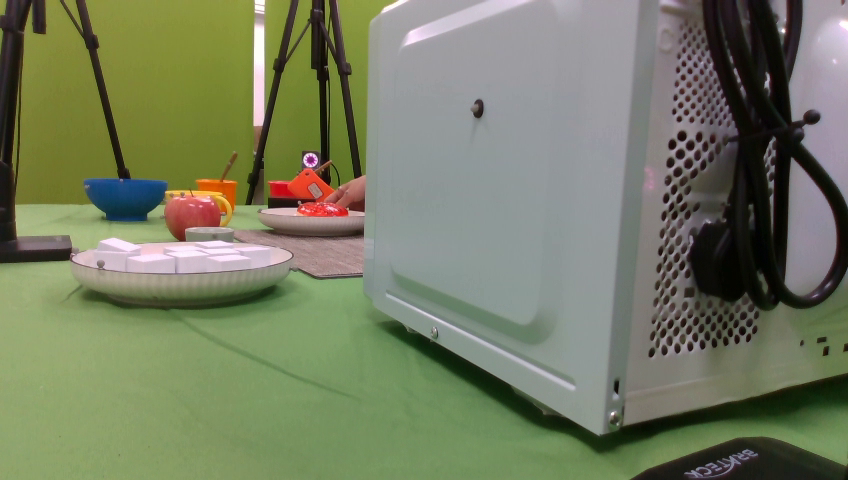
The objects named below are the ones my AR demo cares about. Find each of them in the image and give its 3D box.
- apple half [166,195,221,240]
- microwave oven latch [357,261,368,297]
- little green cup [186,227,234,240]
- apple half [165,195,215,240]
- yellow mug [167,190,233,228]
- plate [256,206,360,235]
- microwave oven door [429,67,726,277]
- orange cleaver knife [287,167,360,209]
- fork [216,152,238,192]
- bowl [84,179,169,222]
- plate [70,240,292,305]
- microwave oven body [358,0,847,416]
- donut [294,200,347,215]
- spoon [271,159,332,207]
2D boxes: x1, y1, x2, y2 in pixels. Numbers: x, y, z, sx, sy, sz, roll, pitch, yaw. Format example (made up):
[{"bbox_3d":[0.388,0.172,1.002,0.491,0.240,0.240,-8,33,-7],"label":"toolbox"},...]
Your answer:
[{"bbox_3d":[-0.351,-0.031,0.935,0.081,0.074,0.053,1,11,-40],"label":"apple half"},{"bbox_3d":[-0.019,0.033,0.531,0.079,0.029,0.030,-1,7,-27],"label":"microwave oven latch"},{"bbox_3d":[-0.284,0.005,0.805,0.061,0.038,0.061,2,8,0],"label":"little green cup"},{"bbox_3d":[-0.377,-0.038,0.964,0.082,0.081,0.032,-4,15,-39],"label":"apple half"},{"bbox_3d":[-0.415,-0.057,1.132,0.130,0.064,0.100,6,8,16],"label":"yellow mug"},{"bbox_3d":[-0.202,-0.037,1.120,0.209,0.038,0.209,2,7,0],"label":"plate"},{"bbox_3d":[0.178,-0.092,0.770,0.354,0.243,0.039,5,8,23],"label":"microwave oven door"},{"bbox_3d":[-0.209,-0.089,1.383,0.212,0.077,0.012,31,4,-15],"label":"orange cleaver knife"},{"bbox_3d":[-0.455,-0.132,1.366,0.028,0.018,0.207,-2,-35,-37],"label":"fork"},{"bbox_3d":[-0.584,-0.078,1.194,0.151,0.077,0.151,3,8,0],"label":"bowl"},{"bbox_3d":[-0.241,0.031,0.618,0.208,0.039,0.207,2,8,0],"label":"plate"},{"bbox_3d":[0.211,-0.047,0.474,0.444,0.260,0.324,-1,7,-28],"label":"microwave oven body"},{"bbox_3d":[-0.193,-0.049,1.134,0.099,0.048,0.099,4,8,0],"label":"donut"},{"bbox_3d":[-0.307,-0.142,1.514,0.193,0.021,0.041,-41,5,8],"label":"spoon"}]
